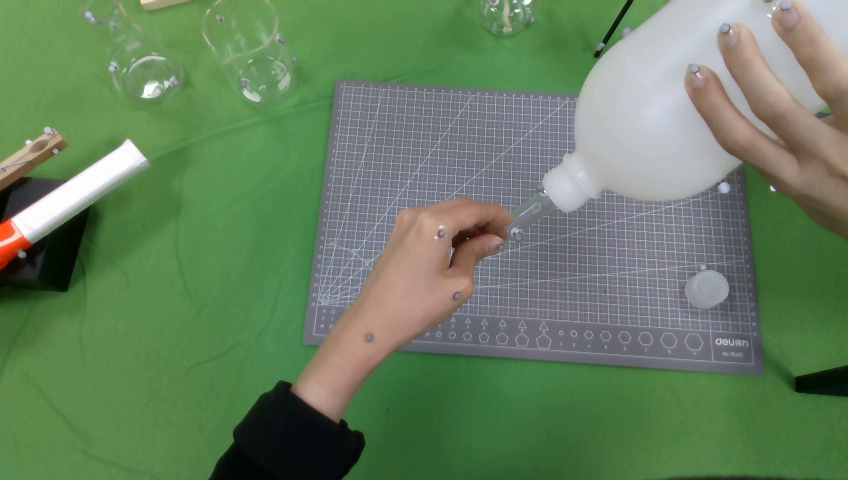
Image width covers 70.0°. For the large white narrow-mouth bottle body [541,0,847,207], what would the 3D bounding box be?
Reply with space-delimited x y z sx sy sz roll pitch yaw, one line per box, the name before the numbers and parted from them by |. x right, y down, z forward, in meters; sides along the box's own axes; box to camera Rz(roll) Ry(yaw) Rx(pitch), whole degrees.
large white narrow-mouth bottle body | 0.150 -0.084 0.341 0.195 0.102 0.101 -38 71 28

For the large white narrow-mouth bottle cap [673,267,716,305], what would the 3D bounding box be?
large white narrow-mouth bottle cap | 0.270 0.046 0.603 0.038 0.024 0.037 0 73 0

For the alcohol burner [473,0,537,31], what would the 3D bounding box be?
alcohol burner | 0.091 -0.287 0.661 0.078 0.120 0.077 1 70 -2

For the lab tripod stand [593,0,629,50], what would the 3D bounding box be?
lab tripod stand | 0.260 -0.274 0.649 0.148 0.132 0.147 1 71 -2

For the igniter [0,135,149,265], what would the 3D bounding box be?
igniter | -0.383 -0.006 0.559 0.276 0.025 0.057 -40 79 -16

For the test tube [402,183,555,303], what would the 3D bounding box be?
test tube | 0.037 0.005 0.432 0.150 0.017 0.017 -38 71 31

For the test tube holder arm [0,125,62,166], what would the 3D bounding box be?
test tube holder arm | -0.425 -0.051 0.575 0.178 0.015 0.013 -40 77 -13

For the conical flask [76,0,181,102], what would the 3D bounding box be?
conical flask | -0.307 -0.204 0.622 0.075 0.122 0.075 0 71 0

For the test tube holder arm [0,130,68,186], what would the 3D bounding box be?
test tube holder arm | -0.387 -0.075 0.584 0.088 0.015 0.010 -39 76 -13

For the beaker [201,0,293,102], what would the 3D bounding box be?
beaker | -0.182 -0.196 0.635 0.074 0.101 0.083 18 73 6

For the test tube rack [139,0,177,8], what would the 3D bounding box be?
test tube rack | -0.222 -0.347 0.690 0.242 0.085 0.066 -17 73 -6
